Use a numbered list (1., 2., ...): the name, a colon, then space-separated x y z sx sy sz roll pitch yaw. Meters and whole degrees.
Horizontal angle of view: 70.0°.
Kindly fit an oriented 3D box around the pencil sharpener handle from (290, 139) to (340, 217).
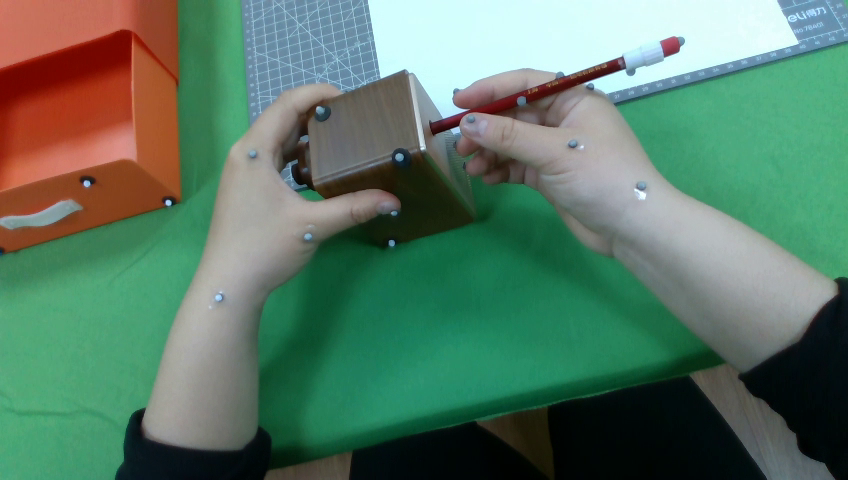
1. pencil sharpener handle: -0.072 -0.035 0.392 0.030 0.068 0.035 -16 60 16

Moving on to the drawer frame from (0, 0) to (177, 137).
1. drawer frame: -0.331 -0.211 0.543 0.201 0.083 0.211 -15 65 7

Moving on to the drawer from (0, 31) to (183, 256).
1. drawer: -0.306 -0.106 0.498 0.194 0.074 0.210 -16 65 7

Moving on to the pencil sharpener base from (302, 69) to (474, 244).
1. pencil sharpener base: -0.021 -0.047 0.390 0.076 0.108 0.061 -16 66 16

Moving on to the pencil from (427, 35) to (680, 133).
1. pencil: 0.045 -0.078 0.344 0.194 0.012 0.012 -16 65 14
